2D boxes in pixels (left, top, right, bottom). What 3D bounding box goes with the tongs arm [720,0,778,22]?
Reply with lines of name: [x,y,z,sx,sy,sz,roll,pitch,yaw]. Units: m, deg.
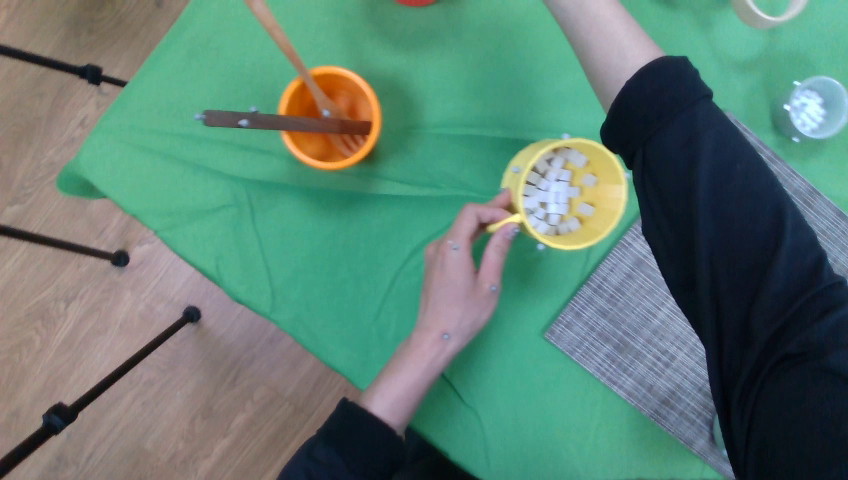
tongs arm: [0.230,-0.380,0.561,0.051,0.026,0.385,-24,93,-4]

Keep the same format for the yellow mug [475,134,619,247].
yellow mug: [0.108,-0.041,0.564,0.131,0.063,0.100,-27,102,-1]

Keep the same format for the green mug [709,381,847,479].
green mug: [0.366,0.188,0.611,0.125,0.105,0.092,-36,95,1]

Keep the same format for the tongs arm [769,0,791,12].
tongs arm: [0.309,-0.407,0.565,0.028,0.027,0.387,-10,93,-8]

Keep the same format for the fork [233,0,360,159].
fork: [-0.114,-0.148,0.538,0.028,0.018,0.209,-37,138,-2]

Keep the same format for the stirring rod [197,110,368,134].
stirring rod: [-0.120,-0.106,0.548,0.177,0.006,0.014,-7,98,-44]

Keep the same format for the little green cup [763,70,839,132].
little green cup: [0.384,-0.140,0.622,0.061,0.038,0.061,0,95,-2]
